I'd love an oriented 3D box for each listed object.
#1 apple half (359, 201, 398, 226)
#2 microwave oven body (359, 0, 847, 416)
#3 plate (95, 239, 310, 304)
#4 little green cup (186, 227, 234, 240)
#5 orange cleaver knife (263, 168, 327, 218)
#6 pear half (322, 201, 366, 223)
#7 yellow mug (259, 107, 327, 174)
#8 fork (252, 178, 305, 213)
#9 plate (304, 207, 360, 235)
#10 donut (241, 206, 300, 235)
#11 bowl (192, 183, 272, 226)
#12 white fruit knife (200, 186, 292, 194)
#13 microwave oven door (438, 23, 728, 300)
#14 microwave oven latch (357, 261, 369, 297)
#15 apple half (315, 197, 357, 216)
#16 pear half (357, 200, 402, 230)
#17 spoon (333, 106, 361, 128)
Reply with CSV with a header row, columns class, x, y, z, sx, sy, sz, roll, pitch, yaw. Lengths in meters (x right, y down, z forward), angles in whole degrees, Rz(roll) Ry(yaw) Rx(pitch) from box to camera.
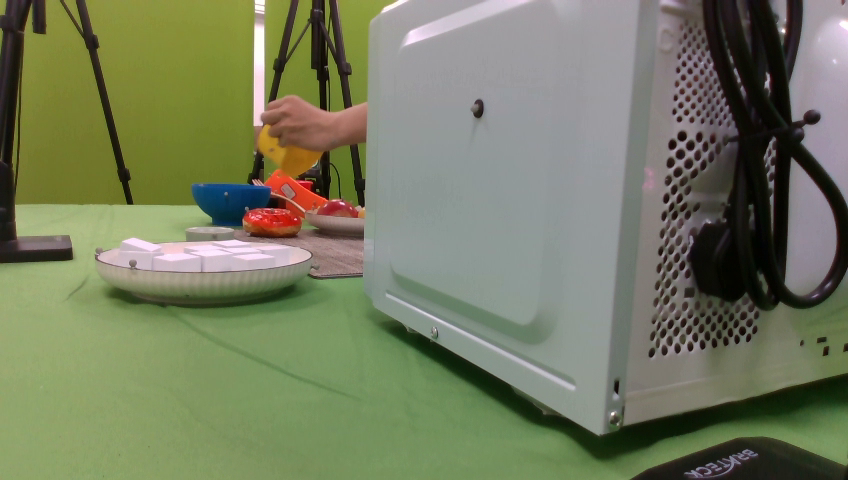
class,x,y,z,sx,sy,sz,roll,pitch,yaw
apple half,-0.088,-0.058,1.190,0.081,0.033,0.081,9,29,-5
microwave oven body,0.211,-0.047,0.474,0.444,0.260,0.324,-1,7,-28
plate,-0.224,0.031,0.629,0.208,0.039,0.207,3,8,0
little green cup,-0.285,0.005,0.805,0.061,0.038,0.061,2,8,0
orange cleaver knife,-0.262,-0.088,1.353,0.211,0.077,0.012,28,13,-1
pear half,-0.157,-0.059,1.197,0.088,0.031,0.070,11,30,-4
yellow mug,-0.232,-0.181,1.055,0.064,0.100,0.131,41,-11,17
fork,-0.295,-0.084,1.292,0.206,0.018,0.028,29,10,25
plate,-0.123,-0.037,1.149,0.209,0.038,0.209,2,7,0
donut,-0.263,-0.032,1.039,0.099,0.048,0.099,4,10,0
bowl,-0.381,-0.071,1.202,0.151,0.077,0.151,3,7,0
white fruit knife,-0.399,-0.111,1.368,0.208,0.016,0.027,-4,-19,-30
microwave oven door,0.181,-0.072,0.621,0.358,0.243,0.039,-2,8,-29
microwave oven latch,-0.019,0.033,0.530,0.079,0.029,0.030,-1,7,-26
apple half,-0.162,-0.052,1.121,0.081,0.053,0.074,4,7,-14
pear half,-0.075,-0.046,1.133,0.076,0.056,0.110,12,7,31
spoon,-0.156,-0.268,1.297,0.041,0.021,0.193,10,26,3
